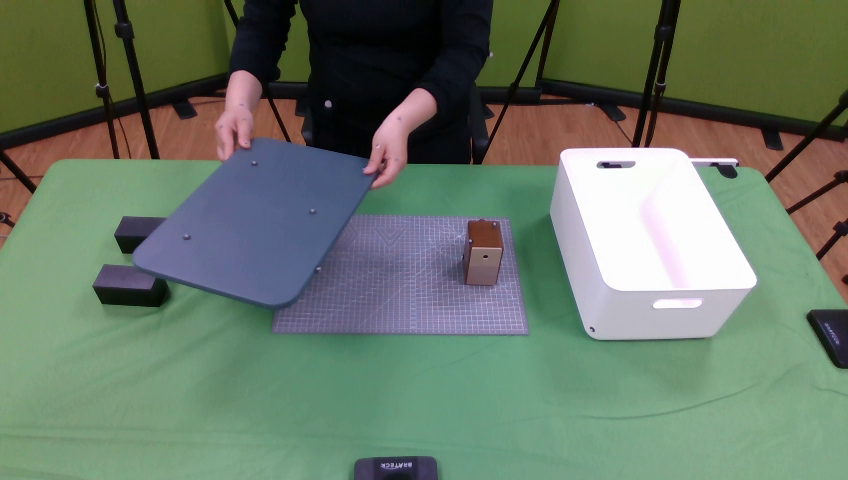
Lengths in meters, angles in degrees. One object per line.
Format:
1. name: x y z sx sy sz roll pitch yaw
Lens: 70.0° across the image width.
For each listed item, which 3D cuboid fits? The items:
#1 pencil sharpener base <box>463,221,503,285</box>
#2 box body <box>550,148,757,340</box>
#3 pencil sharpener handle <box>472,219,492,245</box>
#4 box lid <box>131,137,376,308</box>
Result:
1. pencil sharpener base: 0.107 0.023 1.119 0.061 0.107 0.076 1 45 -2
2. box body: 0.395 0.003 1.127 0.254 0.161 0.361 -1 46 -5
3. pencil sharpener handle: 0.105 -0.021 1.146 0.036 0.068 0.030 5 45 -6
4. box lid: -0.258 -0.047 0.978 0.263 0.015 0.370 14 43 11
